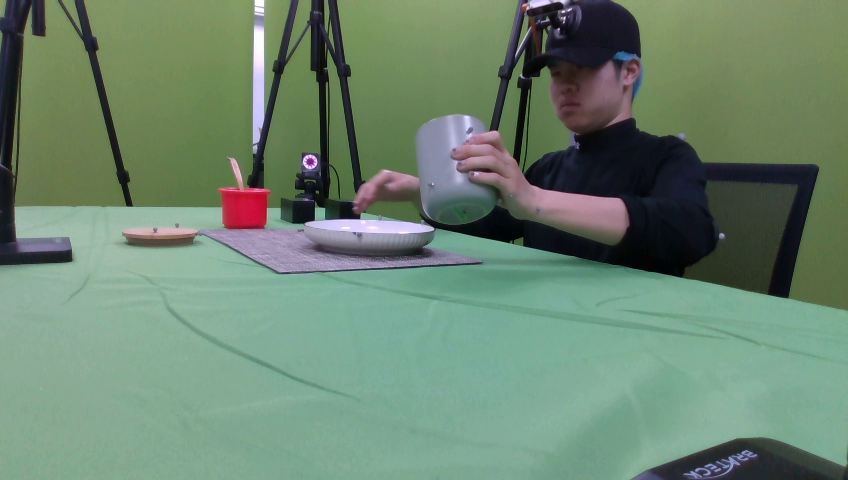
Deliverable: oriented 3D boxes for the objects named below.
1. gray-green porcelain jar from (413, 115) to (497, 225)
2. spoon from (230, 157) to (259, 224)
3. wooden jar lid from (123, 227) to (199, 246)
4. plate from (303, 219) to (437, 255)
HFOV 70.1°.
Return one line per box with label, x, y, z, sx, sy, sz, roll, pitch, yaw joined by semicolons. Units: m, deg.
gray-green porcelain jar;0.043;-0.092;0.840;0.106;0.126;0.106;-6;-21;-2
spoon;-0.366;-0.101;1.215;0.042;0.021;0.193;-1;52;-30
wooden jar lid;-0.408;-0.006;0.942;0.108;0.020;0.108;3;6;0
plate;-0.084;-0.005;0.952;0.208;0.039;0.207;3;7;0
